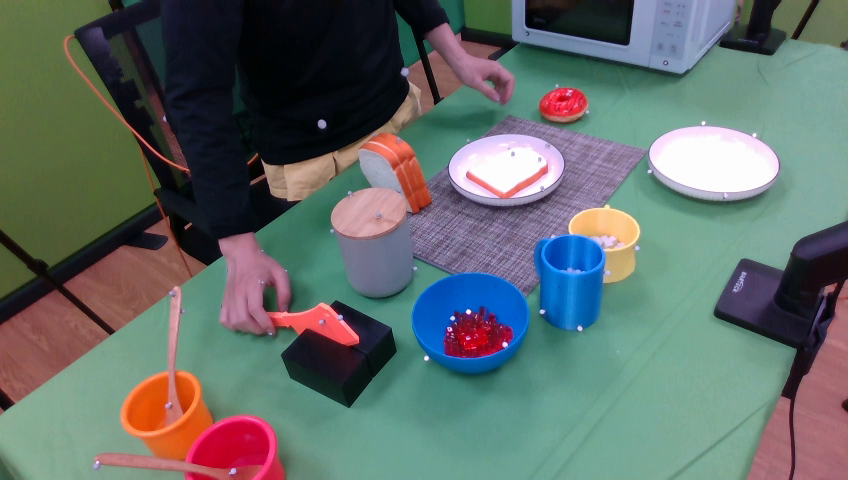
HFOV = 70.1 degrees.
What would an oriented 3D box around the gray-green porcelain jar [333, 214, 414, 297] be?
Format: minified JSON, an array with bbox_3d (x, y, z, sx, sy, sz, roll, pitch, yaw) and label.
[{"bbox_3d":[-0.071,0.012,0.887,0.106,0.127,0.105,-4,41,4],"label":"gray-green porcelain jar"}]

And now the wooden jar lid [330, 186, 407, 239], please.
[{"bbox_3d":[-0.077,-0.035,0.846,0.108,0.021,0.108,-5,41,5],"label":"wooden jar lid"}]

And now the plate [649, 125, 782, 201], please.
[{"bbox_3d":[0.493,-0.127,1.036,0.207,0.039,0.206,-4,41,4],"label":"plate"}]

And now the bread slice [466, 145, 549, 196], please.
[{"bbox_3d":[0.156,-0.128,1.085,0.132,0.019,0.104,-34,48,-23],"label":"bread slice"}]

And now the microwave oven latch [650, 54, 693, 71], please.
[{"bbox_3d":[0.531,-0.386,1.301,0.078,0.029,0.030,26,51,33],"label":"microwave oven latch"}]

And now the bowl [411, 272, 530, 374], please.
[{"bbox_3d":[0.062,0.120,0.780,0.151,0.077,0.150,-4,40,4],"label":"bowl"}]

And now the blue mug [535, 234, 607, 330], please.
[{"bbox_3d":[0.191,0.048,0.824,0.082,0.106,0.115,-26,44,-20],"label":"blue mug"}]

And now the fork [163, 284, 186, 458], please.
[{"bbox_3d":[-0.302,0.157,0.733,0.028,0.019,0.207,-3,84,15],"label":"fork"}]

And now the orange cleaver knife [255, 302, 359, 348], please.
[{"bbox_3d":[-0.161,0.117,0.812,0.210,0.077,0.012,-9,31,48],"label":"orange cleaver knife"}]

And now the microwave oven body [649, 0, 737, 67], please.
[{"bbox_3d":[0.475,-0.602,1.411,0.438,0.261,0.327,23,50,32],"label":"microwave oven body"}]

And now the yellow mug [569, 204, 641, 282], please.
[{"bbox_3d":[0.268,-0.005,0.904,0.099,0.064,0.130,7,41,15],"label":"yellow mug"}]

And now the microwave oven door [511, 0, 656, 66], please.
[{"bbox_3d":[0.351,-0.539,1.349,0.353,0.245,0.039,24,50,31],"label":"microwave oven door"}]

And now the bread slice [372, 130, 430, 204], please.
[{"bbox_3d":[-0.042,-0.127,1.038,0.106,0.135,0.018,30,61,34],"label":"bread slice"}]

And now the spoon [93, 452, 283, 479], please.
[{"bbox_3d":[-0.240,0.239,0.632,0.195,0.021,0.041,26,34,-32],"label":"spoon"}]

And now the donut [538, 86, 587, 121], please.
[{"bbox_3d":[0.283,-0.280,1.239,0.099,0.048,0.098,-5,42,5],"label":"donut"}]

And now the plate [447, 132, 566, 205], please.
[{"bbox_3d":[0.146,-0.124,1.076,0.209,0.038,0.208,-4,41,4],"label":"plate"}]
